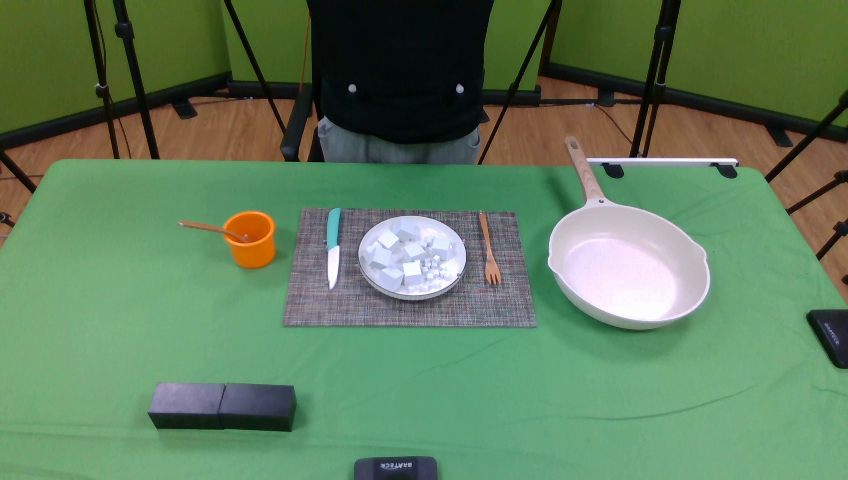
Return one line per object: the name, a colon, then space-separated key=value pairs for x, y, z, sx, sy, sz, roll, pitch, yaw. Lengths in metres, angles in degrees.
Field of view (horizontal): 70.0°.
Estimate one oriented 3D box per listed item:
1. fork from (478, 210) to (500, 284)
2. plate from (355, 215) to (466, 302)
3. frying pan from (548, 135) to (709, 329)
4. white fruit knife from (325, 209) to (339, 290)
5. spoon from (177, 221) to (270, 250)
fork: x=0.124 y=0.010 z=1.194 sx=0.028 sy=0.019 sz=0.206 roll=-8 pitch=48 yaw=3
plate: x=-0.025 y=0.038 z=1.144 sx=0.208 sy=0.039 sz=0.206 roll=2 pitch=46 yaw=-2
frying pan: x=0.360 y=-0.033 z=1.200 sx=0.307 sy=0.103 sz=0.484 roll=-4 pitch=55 yaw=-9
white fruit knife: x=-0.179 y=0.014 z=1.170 sx=0.027 sy=0.016 sz=0.206 roll=-4 pitch=47 yaw=-2
spoon: x=-0.357 y=-0.012 z=1.093 sx=0.021 sy=0.195 sz=0.041 roll=-52 pitch=54 yaw=10
